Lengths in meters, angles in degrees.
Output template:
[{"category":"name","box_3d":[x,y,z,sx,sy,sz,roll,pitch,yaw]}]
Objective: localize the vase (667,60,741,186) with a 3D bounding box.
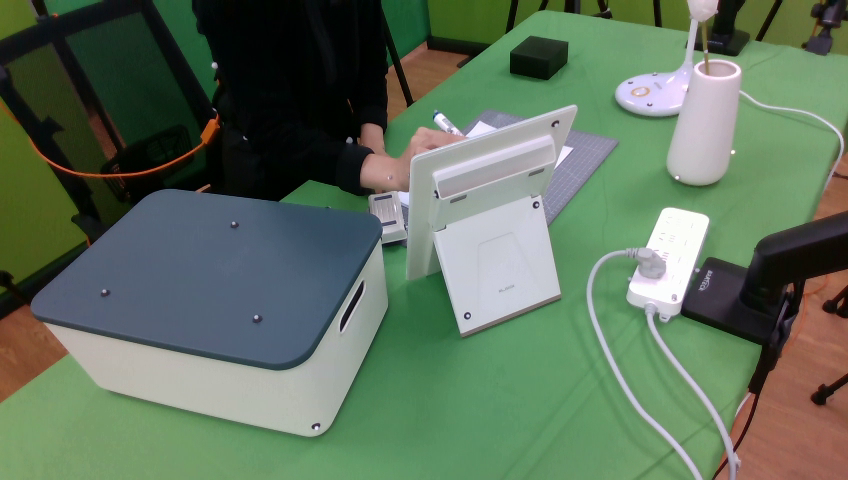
[{"category":"vase","box_3d":[0.463,-0.189,0.994,0.098,0.201,0.097,-4,40,4]}]

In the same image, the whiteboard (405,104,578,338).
[{"category":"whiteboard","box_3d":[0.102,0.003,0.787,0.218,0.306,0.143,-19,62,-13]}]

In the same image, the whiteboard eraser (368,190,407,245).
[{"category":"whiteboard eraser","box_3d":[-0.061,-0.035,1.006,0.056,0.042,0.112,-9,40,-3]}]

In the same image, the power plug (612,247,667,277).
[{"category":"power plug","box_3d":[0.306,0.031,0.852,0.072,0.053,0.035,21,48,37]}]

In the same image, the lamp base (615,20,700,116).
[{"category":"lamp base","box_3d":[0.484,-0.364,1.211,0.180,0.181,0.159,-15,41,-14]}]

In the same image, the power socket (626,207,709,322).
[{"category":"power socket","box_3d":[0.360,0.026,0.886,0.072,0.033,0.227,17,46,27]}]

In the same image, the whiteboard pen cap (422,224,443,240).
[{"category":"whiteboard pen cap","box_3d":[0.013,-0.013,0.988,0.033,0.018,0.018,-30,46,-21]}]

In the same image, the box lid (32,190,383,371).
[{"category":"box lid","box_3d":[-0.257,0.032,0.750,0.370,0.015,0.263,7,41,16]}]

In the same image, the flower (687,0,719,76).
[{"category":"flower","box_3d":[0.436,-0.242,0.934,0.038,0.364,0.043,-24,49,9]}]

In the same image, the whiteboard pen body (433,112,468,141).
[{"category":"whiteboard pen body","box_3d":[0.058,-0.129,0.821,0.017,0.017,0.140,-29,62,-24]}]

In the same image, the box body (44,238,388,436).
[{"category":"box body","box_3d":[-0.251,0.088,0.799,0.362,0.161,0.254,7,42,16]}]
